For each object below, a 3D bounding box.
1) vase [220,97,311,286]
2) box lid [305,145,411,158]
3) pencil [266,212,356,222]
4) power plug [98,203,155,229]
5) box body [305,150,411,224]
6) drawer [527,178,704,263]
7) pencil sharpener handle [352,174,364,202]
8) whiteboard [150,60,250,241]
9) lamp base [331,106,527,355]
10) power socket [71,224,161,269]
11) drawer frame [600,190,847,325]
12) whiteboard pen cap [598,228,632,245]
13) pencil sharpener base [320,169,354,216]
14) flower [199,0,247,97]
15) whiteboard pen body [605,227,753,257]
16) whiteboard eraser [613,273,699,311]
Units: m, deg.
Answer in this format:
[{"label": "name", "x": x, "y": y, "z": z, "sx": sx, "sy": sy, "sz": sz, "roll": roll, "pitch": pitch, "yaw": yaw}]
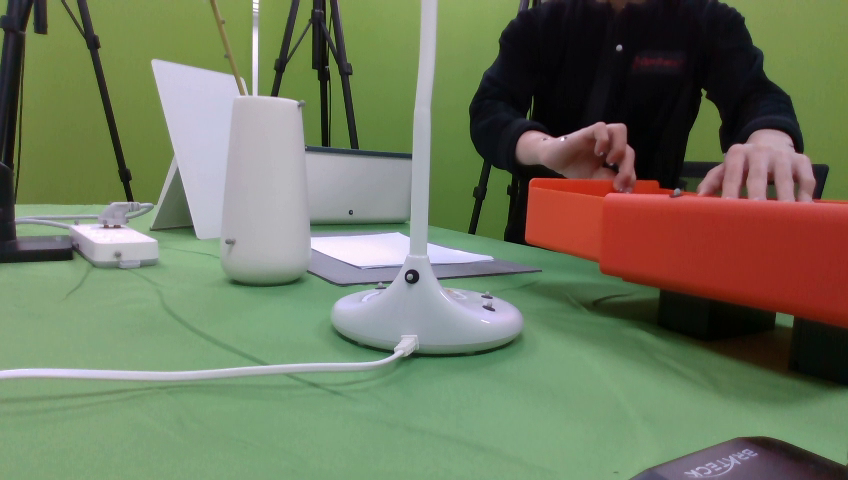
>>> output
[{"label": "vase", "x": -0.172, "y": -0.052, "z": 0.662, "sx": 0.098, "sy": 0.200, "sz": 0.098, "roll": 3, "pitch": 8, "yaw": 0}, {"label": "box lid", "x": -0.228, "y": -0.200, "z": 1.362, "sx": 0.373, "sy": 0.015, "sz": 0.262, "roll": -1, "pitch": 8, "yaw": -33}, {"label": "pencil", "x": -0.244, "y": -0.049, "z": 1.319, "sx": 0.195, "sy": 0.012, "sz": 0.012, "roll": 4, "pitch": 7, "yaw": -12}, {"label": "power plug", "x": -0.416, "y": -0.026, "z": 0.848, "sx": 0.073, "sy": 0.052, "sz": 0.035, "roll": 1, "pitch": 7, "yaw": -28}, {"label": "box body", "x": -0.230, "y": -0.126, "z": 1.372, "sx": 0.366, "sy": 0.160, "sz": 0.253, "roll": -2, "pitch": 8, "yaw": -33}, {"label": "drawer", "x": 0.241, "y": -0.014, "z": 0.593, "sx": 0.195, "sy": 0.073, "sz": 0.210, "roll": -1, "pitch": 11, "yaw": -29}, {"label": "pencil sharpener handle", "x": -0.157, "y": -0.125, "z": 1.450, "sx": 0.031, "sy": 0.068, "sz": 0.036, "roll": 2, "pitch": 19, "yaw": -11}, {"label": "whiteboard", "x": -0.408, "y": -0.139, "z": 1.093, "sx": 0.143, "sy": 0.305, "sz": 0.218, "roll": -15, "pitch": -1, "yaw": 26}, {"label": "lamp base", "x": 0.006, "y": -0.012, "z": 0.478, "sx": 0.161, "sy": 0.180, "sz": 0.179, "roll": 2, "pitch": 10, "yaw": 2}, {"label": "power socket", "x": -0.408, "y": 0.004, "z": 0.793, "sx": 0.072, "sy": 0.032, "sz": 0.225, "roll": -2, "pitch": 8, "yaw": -38}, {"label": "drawer frame", "x": 0.295, "y": 0.003, "z": 0.500, "sx": 0.203, "sy": 0.082, "sz": 0.212, "roll": 0, "pitch": 7, "yaw": -30}, {"label": "whiteboard pen cap", "x": 0.202, "y": -0.003, "z": 0.641, "sx": 0.033, "sy": 0.018, "sz": 0.018, "roll": 7, "pitch": 9, "yaw": 26}, {"label": "pencil sharpener base", "x": -0.207, "y": -0.113, "z": 1.438, "sx": 0.077, "sy": 0.107, "sz": 0.061, "roll": 2, "pitch": 6, "yaw": -11}, {"label": "flower", "x": -0.187, "y": -0.133, "z": 0.648, "sx": 0.038, "sy": 0.362, "sz": 0.044, "roll": -1, "pitch": 21, "yaw": 42}, {"label": "whiteboard pen body", "x": 0.255, "y": 0.000, "z": 0.615, "sx": 0.140, "sy": 0.017, "sz": 0.017, "roll": 9, "pitch": 10, "yaw": 24}, {"label": "whiteboard eraser", "x": 0.203, "y": 0.022, "z": 0.570, "sx": 0.056, "sy": 0.042, "sz": 0.112, "roll": 2, "pitch": 36, "yaw": -51}]
